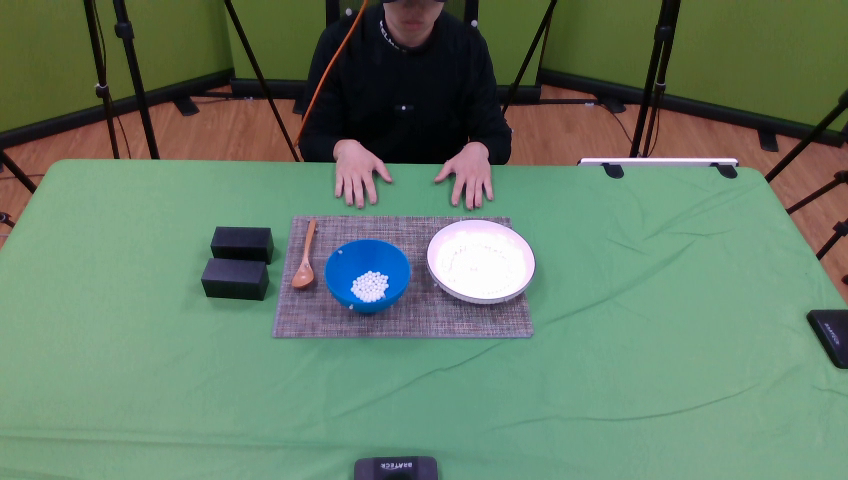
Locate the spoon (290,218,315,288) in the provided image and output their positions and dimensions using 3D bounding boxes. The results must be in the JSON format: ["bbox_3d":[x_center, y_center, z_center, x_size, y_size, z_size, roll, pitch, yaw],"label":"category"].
[{"bbox_3d":[-0.224,0.021,1.156,0.041,0.022,0.192,-11,46,10],"label":"spoon"}]

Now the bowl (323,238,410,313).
[{"bbox_3d":[-0.101,0.077,1.073,0.151,0.077,0.150,2,46,-2],"label":"bowl"}]

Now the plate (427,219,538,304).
[{"bbox_3d":[0.109,0.044,1.149,0.208,0.039,0.206,2,46,-2],"label":"plate"}]
